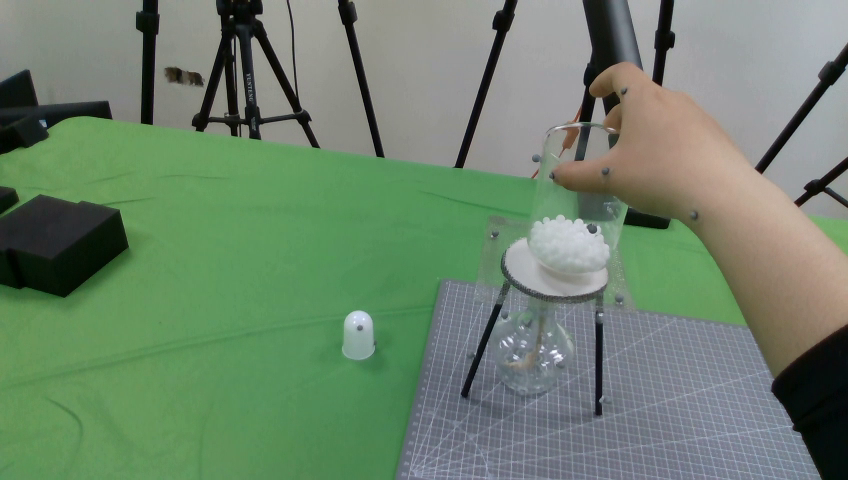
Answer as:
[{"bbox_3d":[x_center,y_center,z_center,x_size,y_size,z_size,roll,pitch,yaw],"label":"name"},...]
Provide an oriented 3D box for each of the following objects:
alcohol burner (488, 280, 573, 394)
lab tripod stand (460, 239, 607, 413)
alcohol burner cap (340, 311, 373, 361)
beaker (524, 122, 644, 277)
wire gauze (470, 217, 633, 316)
[{"bbox_3d":[0.100,0.082,0.549,0.078,0.120,0.077,5,36,-3],"label":"alcohol burner"},{"bbox_3d":[0.102,0.073,0.544,0.148,0.132,0.147,3,33,-1],"label":"lab tripod stand"},{"bbox_3d":[-0.065,0.090,0.584,0.034,0.048,0.033,4,36,-3],"label":"alcohol burner cap"},{"bbox_3d":[0.118,-0.027,0.464,0.074,0.101,0.083,9,38,7],"label":"beaker"},{"bbox_3d":[0.105,0.021,0.502,0.121,0.011,0.124,8,33,6],"label":"wire gauze"}]
